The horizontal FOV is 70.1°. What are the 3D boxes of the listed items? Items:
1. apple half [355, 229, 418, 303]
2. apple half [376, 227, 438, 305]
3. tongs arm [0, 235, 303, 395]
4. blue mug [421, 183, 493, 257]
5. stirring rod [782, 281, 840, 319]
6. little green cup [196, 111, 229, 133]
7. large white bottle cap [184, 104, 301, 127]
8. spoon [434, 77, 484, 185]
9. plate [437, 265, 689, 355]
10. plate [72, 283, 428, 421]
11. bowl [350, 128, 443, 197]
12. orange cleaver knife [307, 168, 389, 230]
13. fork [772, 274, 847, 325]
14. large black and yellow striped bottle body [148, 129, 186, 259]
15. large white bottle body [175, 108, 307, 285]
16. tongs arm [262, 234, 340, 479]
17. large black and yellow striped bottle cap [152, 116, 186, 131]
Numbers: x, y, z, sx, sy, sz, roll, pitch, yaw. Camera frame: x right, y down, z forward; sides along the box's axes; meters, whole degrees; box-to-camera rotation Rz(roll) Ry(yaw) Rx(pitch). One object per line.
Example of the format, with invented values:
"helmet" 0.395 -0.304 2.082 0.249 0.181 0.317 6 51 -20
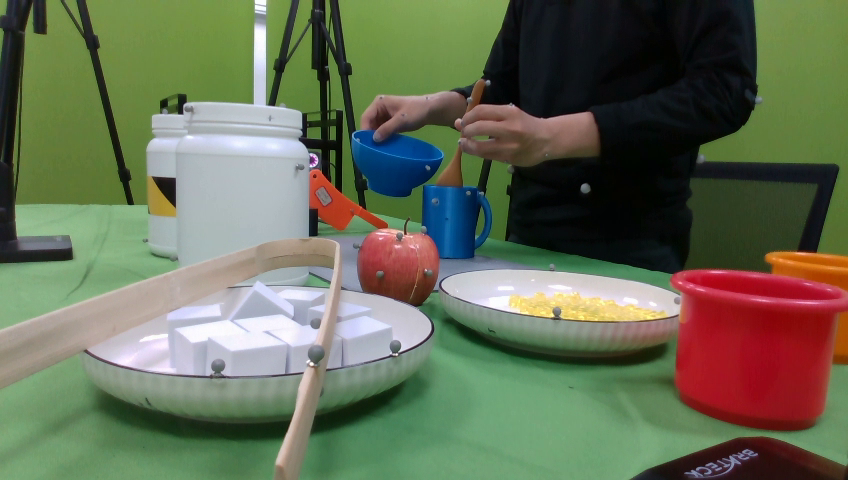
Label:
"apple half" -0.043 0.027 0.564 0.081 0.081 0.033 9 5 42
"apple half" -0.017 0.026 0.593 0.080 0.074 0.053 4 2 43
"tongs arm" -0.157 0.038 0.351 0.028 0.028 0.388 -3 9 12
"blue mug" 0.052 -0.032 0.912 0.117 0.106 0.082 -1 8 -24
"stirring rod" 0.344 0.019 0.460 0.014 0.006 0.176 -13 -27 -30
"little green cup" -0.403 -0.225 1.154 0.061 0.038 0.061 3 8 0
"large white bottle cap" -0.184 -0.126 0.618 0.115 0.018 0.115 2 8 0
"spoon" 0.050 -0.136 0.833 0.041 0.193 0.021 14 35 -2
"plate" 0.114 0.057 0.517 0.209 0.038 0.209 3 8 0
"plate" -0.102 0.066 0.381 0.208 0.039 0.207 2 7 0
"bowl" -0.050 -0.120 0.971 0.151 0.077 0.151 12 22 -5
"orange cleaver knife" -0.158 -0.060 1.166 0.212 0.077 0.012 34 -12 -32
"fork" 0.332 0.018 0.443 0.028 0.018 0.207 -1 -36 -15
"large black and yellow striped bottle body" -0.310 -0.073 0.838 0.131 0.184 0.130 2 8 0
"large white bottle body" -0.188 -0.042 0.630 0.131 0.184 0.130 2 8 0
"tongs arm" -0.074 0.039 0.349 0.051 0.026 0.384 -2 10 -3
"large black and yellow striped bottle cap" -0.309 -0.155 0.826 0.115 0.019 0.115 3 6 0
